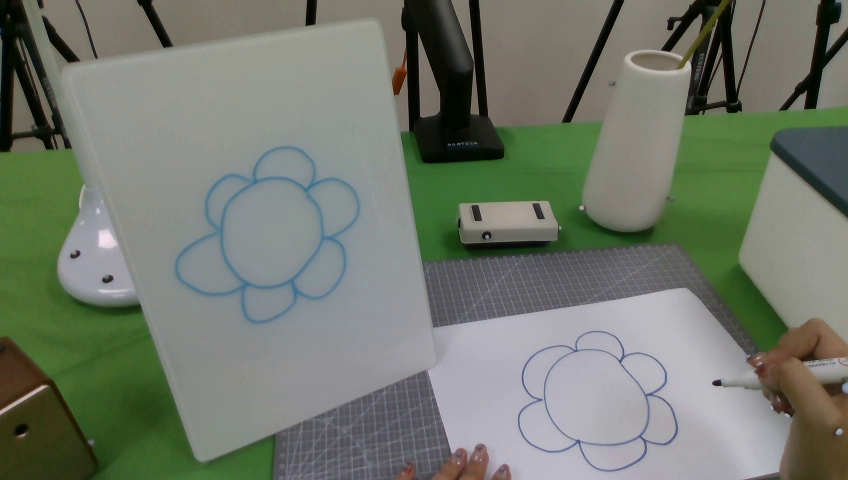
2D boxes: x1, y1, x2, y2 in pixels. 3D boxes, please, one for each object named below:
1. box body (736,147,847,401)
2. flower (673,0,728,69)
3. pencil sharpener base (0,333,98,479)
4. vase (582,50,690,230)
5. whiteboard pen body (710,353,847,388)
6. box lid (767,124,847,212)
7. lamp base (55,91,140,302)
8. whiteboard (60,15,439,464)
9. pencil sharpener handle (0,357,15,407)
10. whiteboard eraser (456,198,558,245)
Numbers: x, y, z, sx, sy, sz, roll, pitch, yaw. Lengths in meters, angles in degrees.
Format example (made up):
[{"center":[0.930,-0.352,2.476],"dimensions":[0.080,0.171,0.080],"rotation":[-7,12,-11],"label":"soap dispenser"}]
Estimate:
[{"center":[0.480,0.053,0.519],"dimensions":[0.254,0.162,0.360],"rotation":[-4,38,-5],"label":"box body"},{"center":[0.257,-0.167,0.634],"dimensions":[0.044,0.364,0.038],"rotation":[-20,60,-35],"label":"flower"},{"center":[-0.299,0.132,0.440],"dimensions":[0.076,0.108,0.061],"rotation":[26,45,30],"label":"pencil sharpener base"},{"center":[0.244,-0.109,0.695],"dimensions":[0.098,0.201,0.097],"rotation":[2,38,-1],"label":"vase"},{"center":[0.249,0.081,0.381],"dimensions":[0.140,0.017,0.017],"rotation":[-22,16,45],"label":"whiteboard pen body"},{"center":[0.480,-0.005,0.471],"dimensions":[0.264,0.015,0.367],"rotation":[-3,37,-6],"label":"box lid"},{"center":[-0.322,-0.054,0.622],"dimensions":[0.178,0.182,0.160],"rotation":[21,42,27],"label":"lamp base"},{"center":[-0.133,-0.013,0.519],"dimensions":[0.218,0.307,0.142],"rotation":[-18,22,-21],"label":"whiteboard"},{"center":[-0.337,0.102,0.459],"dimensions":[0.030,0.068,0.036],"rotation":[26,53,30],"label":"pencil sharpener handle"},{"center":[0.095,-0.020,0.704],"dimensions":[0.113,0.042,0.055],"rotation":[-4,36,-4],"label":"whiteboard eraser"}]
